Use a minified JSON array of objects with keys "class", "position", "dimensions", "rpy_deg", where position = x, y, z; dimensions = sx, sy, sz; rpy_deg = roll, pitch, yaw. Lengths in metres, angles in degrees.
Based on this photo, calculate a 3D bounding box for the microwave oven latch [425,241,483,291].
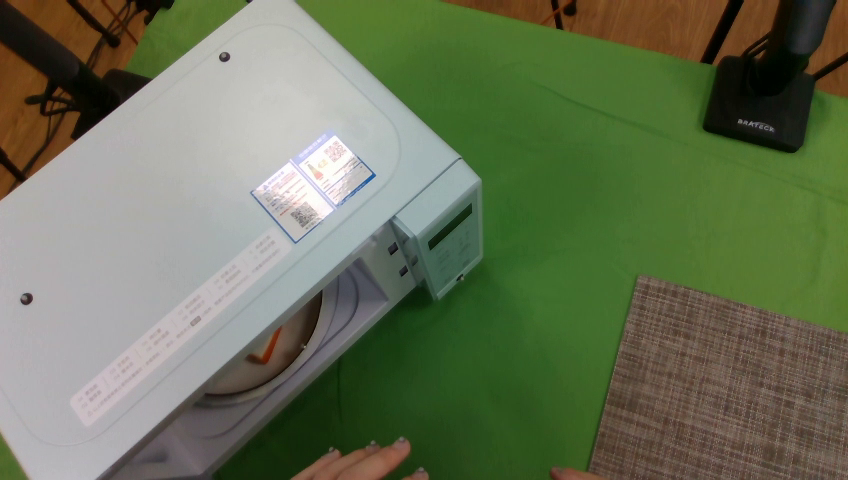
[{"class":"microwave oven latch","position":[0.035,0.024,0.724],"dimensions":[0.079,0.030,0.030],"rpy_deg":[-41,74,-7]}]

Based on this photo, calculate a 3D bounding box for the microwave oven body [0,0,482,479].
[{"class":"microwave oven body","position":[-0.204,0.012,0.649],"dimensions":[0.441,0.262,0.324],"rpy_deg":[-43,74,-8]}]

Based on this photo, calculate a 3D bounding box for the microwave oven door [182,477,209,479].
[{"class":"microwave oven door","position":[-0.096,0.265,0.552],"dimensions":[0.355,0.245,0.039],"rpy_deg":[5,72,7]}]
